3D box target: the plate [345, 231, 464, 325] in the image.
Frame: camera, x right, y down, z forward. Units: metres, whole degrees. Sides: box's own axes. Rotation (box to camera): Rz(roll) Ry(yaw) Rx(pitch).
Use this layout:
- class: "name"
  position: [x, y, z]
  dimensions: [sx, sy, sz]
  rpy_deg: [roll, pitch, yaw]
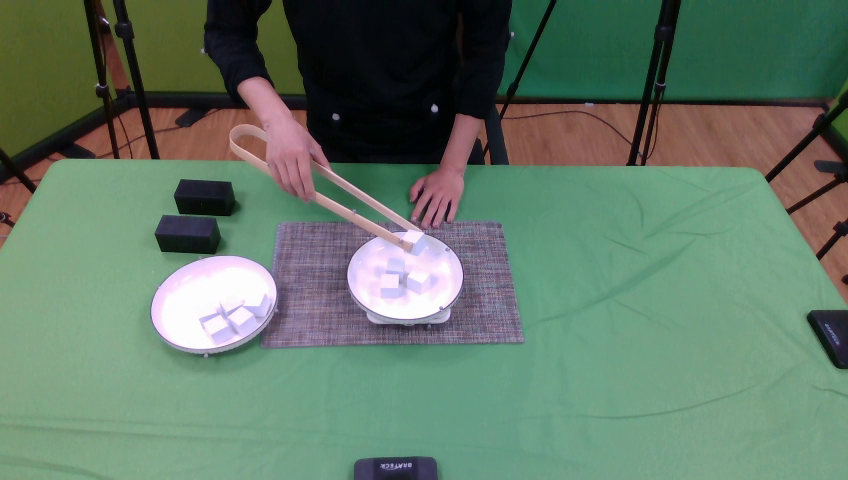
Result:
- class: "plate"
  position: [-0.034, 0.069, 1.069]
  dimensions: [0.209, 0.038, 0.208]
  rpy_deg: [2, 46, -2]

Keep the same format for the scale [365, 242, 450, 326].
- class: "scale"
  position: [-0.032, 0.071, 1.113]
  dimensions: [0.149, 0.032, 0.199]
  rpy_deg: [0, 46, -4]

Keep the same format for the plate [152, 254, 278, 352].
- class: "plate"
  position: [-0.357, 0.111, 1.052]
  dimensions: [0.208, 0.039, 0.206]
  rpy_deg: [2, 46, -2]

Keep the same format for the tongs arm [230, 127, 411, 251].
- class: "tongs arm"
  position: [-0.185, -0.091, 1.072]
  dimensions: [0.384, 0.026, 0.050]
  rpy_deg: [28, 57, 4]

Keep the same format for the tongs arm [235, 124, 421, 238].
- class: "tongs arm"
  position: [-0.173, -0.107, 1.085]
  dimensions: [0.387, 0.028, 0.028]
  rpy_deg: [31, 61, 6]
